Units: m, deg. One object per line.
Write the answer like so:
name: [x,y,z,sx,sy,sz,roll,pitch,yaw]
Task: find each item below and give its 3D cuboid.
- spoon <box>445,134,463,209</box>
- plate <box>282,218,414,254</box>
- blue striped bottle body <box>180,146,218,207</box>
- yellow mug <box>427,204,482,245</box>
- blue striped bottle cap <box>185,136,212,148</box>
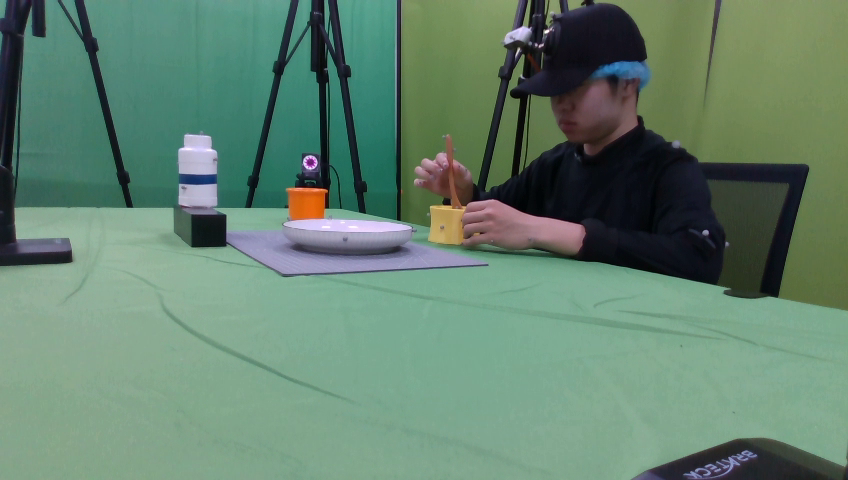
spoon: [0.055,-0.102,1.138,0.041,0.193,0.022,1,14,45]
plate: [-0.121,-0.007,0.971,0.208,0.039,0.207,2,7,0]
blue striped bottle body: [-0.392,-0.118,1.053,0.063,0.120,0.063,2,8,0]
yellow mug: [0.062,-0.028,1.111,0.100,0.064,0.130,0,8,-20]
blue striped bottle cap: [-0.390,-0.169,1.047,0.044,0.020,0.044,4,10,0]
